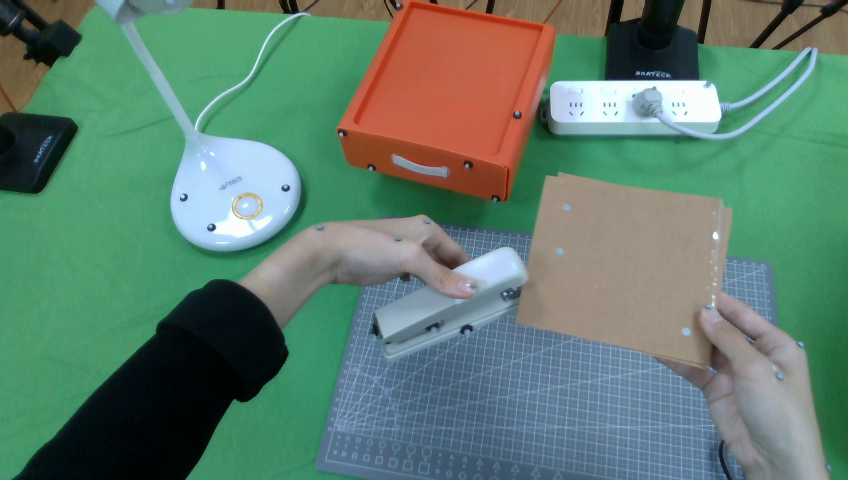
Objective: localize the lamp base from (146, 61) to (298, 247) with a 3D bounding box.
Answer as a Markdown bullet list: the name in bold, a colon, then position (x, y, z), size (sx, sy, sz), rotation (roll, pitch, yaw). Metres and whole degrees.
- **lamp base**: position (-0.252, -0.106, 0.694), size (0.177, 0.182, 0.160), rotation (38, 70, 25)

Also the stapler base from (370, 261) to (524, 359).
- **stapler base**: position (0.022, 0.047, 0.461), size (0.130, 0.024, 0.041), rotation (-22, 62, -1)

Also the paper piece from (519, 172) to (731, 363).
- **paper piece**: position (0.156, 0.014, 0.464), size (0.135, 0.004, 0.135), rotation (14, 65, 19)

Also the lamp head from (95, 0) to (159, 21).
- **lamp head**: position (-0.225, -0.238, 0.433), size (0.123, 0.112, 0.112), rotation (46, 68, -16)

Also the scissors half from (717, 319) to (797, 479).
- **scissors half**: position (0.323, 0.158, 0.599), size (0.040, 0.013, 0.173), rotation (-7, 60, -4)

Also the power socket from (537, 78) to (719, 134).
- **power socket**: position (0.262, -0.172, 0.778), size (0.226, 0.033, 0.071), rotation (2, 62, 5)

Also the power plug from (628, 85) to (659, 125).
- **power plug**: position (0.267, -0.158, 0.743), size (0.035, 0.053, 0.072), rotation (11, 63, 10)

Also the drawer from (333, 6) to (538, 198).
- **drawer**: position (0.026, -0.169, 0.715), size (0.194, 0.074, 0.210), rotation (15, 62, 13)

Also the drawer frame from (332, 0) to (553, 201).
- **drawer frame**: position (0.027, -0.173, 0.720), size (0.201, 0.083, 0.212), rotation (15, 64, 12)

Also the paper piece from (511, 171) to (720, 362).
- **paper piece**: position (0.146, 0.013, 0.455), size (0.135, 0.009, 0.137), rotation (10, 65, 16)

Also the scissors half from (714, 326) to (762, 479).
- **scissors half**: position (0.302, 0.158, 0.598), size (0.040, 0.013, 0.174), rotation (10, 58, 0)

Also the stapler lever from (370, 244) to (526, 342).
- **stapler lever**: position (0.017, 0.037, 0.438), size (0.118, 0.040, 0.026), rotation (-22, 62, -1)
